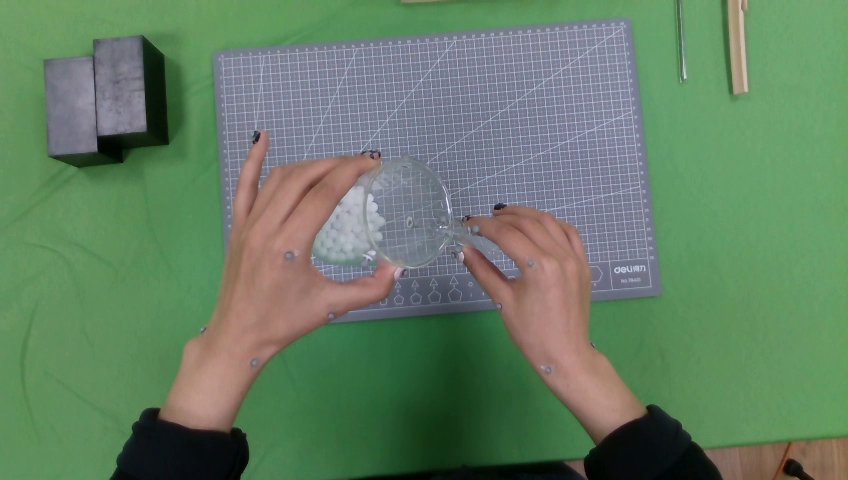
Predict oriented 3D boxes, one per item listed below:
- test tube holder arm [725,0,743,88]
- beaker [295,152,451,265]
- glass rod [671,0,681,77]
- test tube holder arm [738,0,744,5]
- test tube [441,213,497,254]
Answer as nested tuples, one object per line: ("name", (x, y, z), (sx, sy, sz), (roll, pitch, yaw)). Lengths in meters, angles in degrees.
("test tube holder arm", (0.329, -0.250, 0.645), (0.013, 0.015, 0.178), (3, 85, -29))
("beaker", (-0.039, -0.018, 0.437), (0.085, 0.099, 0.073), (20, 77, -38))
("glass rod", (0.270, -0.274, 0.655), (0.008, 0.008, 0.199), (0, 86, 0))
("test tube holder arm", (0.335, -0.295, 0.651), (0.010, 0.015, 0.087), (4, 85, -29))
("test tube", (0.041, -0.003, 0.503), (0.017, 0.151, 0.017), (-2, 82, 17))
